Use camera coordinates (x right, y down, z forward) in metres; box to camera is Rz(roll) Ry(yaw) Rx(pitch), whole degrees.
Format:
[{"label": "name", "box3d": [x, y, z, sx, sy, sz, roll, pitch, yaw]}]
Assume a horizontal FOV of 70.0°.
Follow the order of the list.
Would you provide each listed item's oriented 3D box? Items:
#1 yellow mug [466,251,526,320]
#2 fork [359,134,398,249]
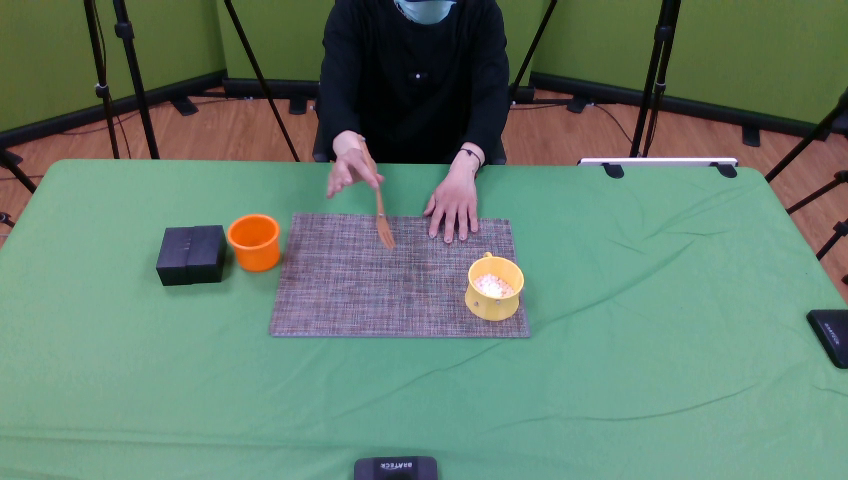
[{"label": "yellow mug", "box3d": [0.125, 0.074, 1.096, 0.100, 0.064, 0.130, -4, 45, -7]}, {"label": "fork", "box3d": [-0.081, -0.083, 1.055, 0.018, 0.207, 0.028, -5, 13, 40]}]
